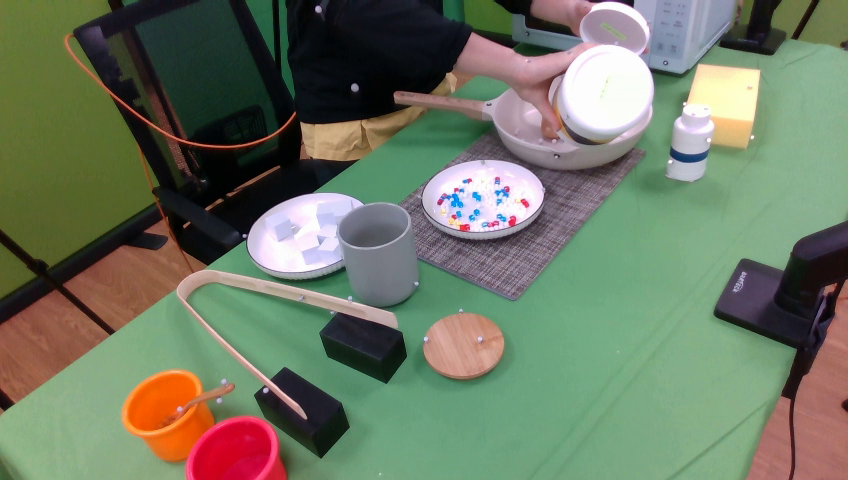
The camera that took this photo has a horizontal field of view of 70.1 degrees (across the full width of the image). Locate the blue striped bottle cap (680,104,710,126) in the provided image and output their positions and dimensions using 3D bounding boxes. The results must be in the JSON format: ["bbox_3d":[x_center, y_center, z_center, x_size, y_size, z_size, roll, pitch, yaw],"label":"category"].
[{"bbox_3d":[0.444,-0.205,0.989,0.044,0.021,0.044,-1,42,2],"label":"blue striped bottle cap"}]

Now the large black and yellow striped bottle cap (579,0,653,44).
[{"bbox_3d":[0.303,-0.354,0.959,0.115,0.019,0.114,0,57,1],"label":"large black and yellow striped bottle cap"}]

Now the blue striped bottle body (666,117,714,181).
[{"bbox_3d":[0.450,-0.166,1.022,0.063,0.121,0.063,-5,41,5],"label":"blue striped bottle body"}]

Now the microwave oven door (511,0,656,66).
[{"bbox_3d":[0.351,-0.540,1.349,0.353,0.245,0.039,24,50,31],"label":"microwave oven door"}]

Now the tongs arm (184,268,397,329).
[{"bbox_3d":[-0.202,0.084,0.848,0.382,0.027,0.051,11,45,35],"label":"tongs arm"}]

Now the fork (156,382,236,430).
[{"bbox_3d":[-0.262,0.189,0.690,0.018,0.206,0.028,49,43,-7],"label":"fork"}]

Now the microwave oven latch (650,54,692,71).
[{"bbox_3d":[0.530,-0.386,1.301,0.078,0.029,0.030,23,50,32],"label":"microwave oven latch"}]

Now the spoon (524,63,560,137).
[{"bbox_3d":[0.234,-0.281,1.204,0.041,0.022,0.192,-13,68,0],"label":"spoon"}]

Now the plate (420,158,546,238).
[{"bbox_3d":[0.099,-0.067,1.017,0.209,0.038,0.208,-4,40,4],"label":"plate"}]

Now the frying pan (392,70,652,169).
[{"bbox_3d":[0.175,-0.249,1.166,0.487,0.103,0.306,12,43,9],"label":"frying pan"}]

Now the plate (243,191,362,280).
[{"bbox_3d":[-0.188,-0.005,0.992,0.207,0.039,0.206,-4,41,4],"label":"plate"}]

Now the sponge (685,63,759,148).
[{"bbox_3d":[0.569,-0.263,1.164,0.117,0.061,0.207,12,45,22],"label":"sponge"}]

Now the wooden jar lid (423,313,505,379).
[{"bbox_3d":[0.053,0.142,0.800,0.108,0.021,0.108,-5,39,4],"label":"wooden jar lid"}]

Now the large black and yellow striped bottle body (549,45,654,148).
[{"bbox_3d":[0.270,-0.217,0.955,0.131,0.130,0.184,-5,0,3],"label":"large black and yellow striped bottle body"}]

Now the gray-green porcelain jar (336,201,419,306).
[{"bbox_3d":[-0.064,0.024,0.872,0.106,0.127,0.105,-4,41,4],"label":"gray-green porcelain jar"}]

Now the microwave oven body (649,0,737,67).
[{"bbox_3d":[0.475,-0.602,1.411,0.438,0.261,0.327,23,50,32],"label":"microwave oven body"}]

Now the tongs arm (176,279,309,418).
[{"bbox_3d":[-0.254,0.132,0.801,0.028,0.028,0.384,-41,40,-23],"label":"tongs arm"}]
